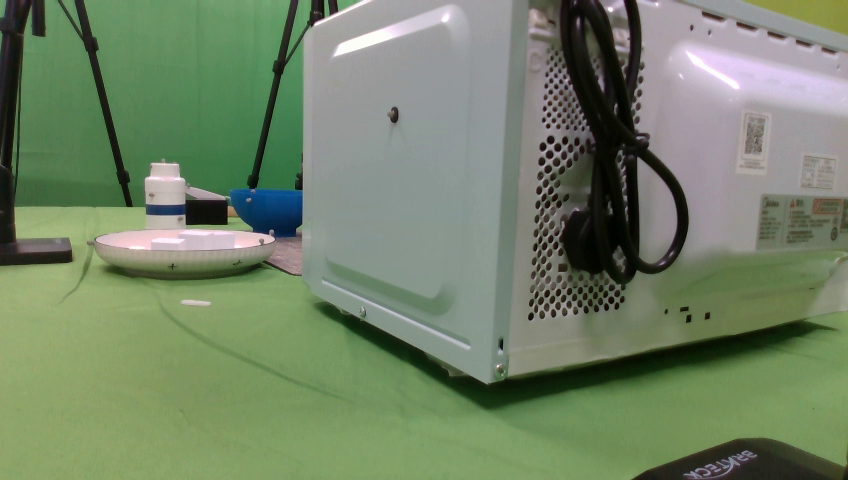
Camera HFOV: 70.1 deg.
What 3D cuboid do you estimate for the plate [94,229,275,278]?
[{"bbox_3d":[-0.291,0.016,0.750,0.208,0.039,0.207,2,7,0],"label":"plate"}]

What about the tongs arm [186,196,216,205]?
[{"bbox_3d":[-0.404,-0.081,1.479,0.385,0.026,0.050,3,8,-2],"label":"tongs arm"}]

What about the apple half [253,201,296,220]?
[{"bbox_3d":[-0.264,-0.053,1.067,0.081,0.033,0.081,1,8,0],"label":"apple half"}]

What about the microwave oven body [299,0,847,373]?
[{"bbox_3d":[0.151,-0.055,0.542,0.444,0.260,0.324,-2,7,-33],"label":"microwave oven body"}]

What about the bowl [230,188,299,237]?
[{"bbox_3d":[-0.264,-0.048,1.065,0.151,0.077,0.151,3,8,0],"label":"bowl"}]

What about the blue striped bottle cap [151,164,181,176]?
[{"bbox_3d":[-0.428,-0.116,1.002,0.044,0.020,0.044,1,6,0],"label":"blue striped bottle cap"}]

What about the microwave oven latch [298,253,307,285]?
[{"bbox_3d":[-0.081,0.027,0.582,0.079,0.029,0.030,-2,7,-32],"label":"microwave oven latch"}]

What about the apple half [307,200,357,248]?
[{"bbox_3d":[-0.135,-0.024,0.942,0.053,0.074,0.081,13,9,38],"label":"apple half"}]

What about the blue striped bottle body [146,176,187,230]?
[{"bbox_3d":[-0.430,-0.065,1.010,0.063,0.120,0.063,2,7,0],"label":"blue striped bottle body"}]

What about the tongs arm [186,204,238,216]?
[{"bbox_3d":[-0.396,-0.067,1.399,0.389,0.028,0.028,1,5,-15],"label":"tongs arm"}]

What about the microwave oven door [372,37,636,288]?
[{"bbox_3d":[0.110,-0.080,0.686,0.358,0.243,0.039,-2,9,-33],"label":"microwave oven door"}]

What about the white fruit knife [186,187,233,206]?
[{"bbox_3d":[-0.413,-0.081,1.270,0.208,0.027,0.016,18,13,-42],"label":"white fruit knife"}]
